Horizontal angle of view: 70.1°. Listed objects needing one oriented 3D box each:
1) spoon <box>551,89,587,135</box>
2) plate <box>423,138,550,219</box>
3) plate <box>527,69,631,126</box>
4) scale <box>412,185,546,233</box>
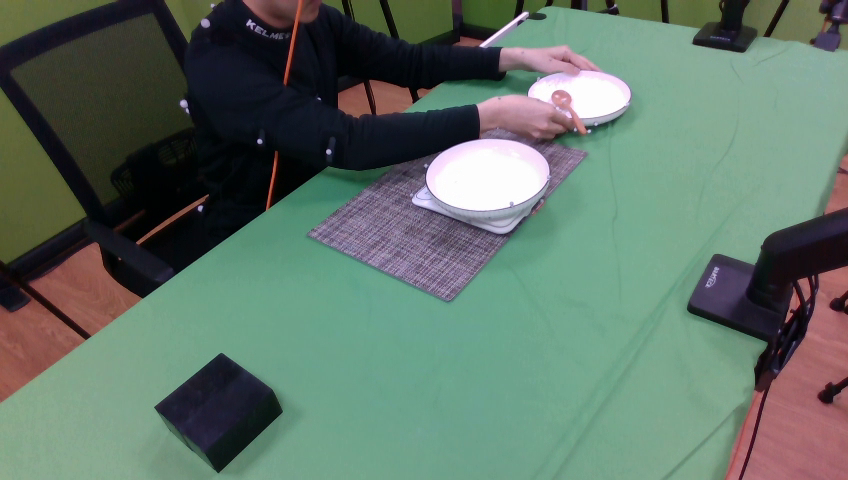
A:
[{"bbox_3d":[0.286,-0.253,1.184,0.041,0.022,0.192,-6,33,1],"label":"spoon"},{"bbox_3d":[0.104,-0.099,1.005,0.207,0.039,0.206,-4,41,4],"label":"plate"},{"bbox_3d":[0.317,-0.289,1.246,0.209,0.038,0.208,-4,41,4],"label":"plate"},{"bbox_3d":[0.093,-0.083,1.039,0.199,0.032,0.149,22,48,30],"label":"scale"}]
